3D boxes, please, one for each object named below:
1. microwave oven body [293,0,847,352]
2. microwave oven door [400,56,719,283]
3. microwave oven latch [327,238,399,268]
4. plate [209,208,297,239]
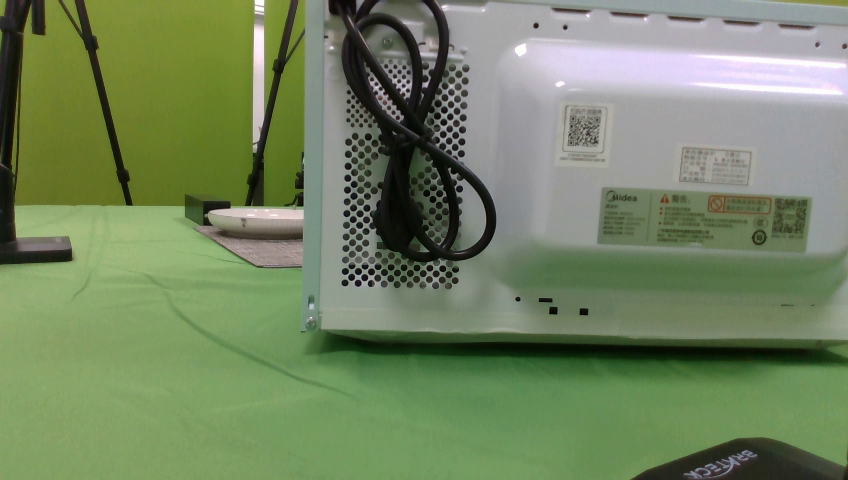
[{"bbox_3d":[0.122,-0.055,0.550,0.442,0.260,0.325,3,7,-5],"label":"microwave oven body"},{"bbox_3d":[0.155,-0.077,0.698,0.356,0.243,0.039,2,8,-5],"label":"microwave oven door"},{"bbox_3d":[-0.069,0.015,0.694,0.079,0.029,0.030,3,7,-3],"label":"microwave oven latch"},{"bbox_3d":[-0.271,-0.029,1.074,0.208,0.039,0.207,3,7,0],"label":"plate"}]
